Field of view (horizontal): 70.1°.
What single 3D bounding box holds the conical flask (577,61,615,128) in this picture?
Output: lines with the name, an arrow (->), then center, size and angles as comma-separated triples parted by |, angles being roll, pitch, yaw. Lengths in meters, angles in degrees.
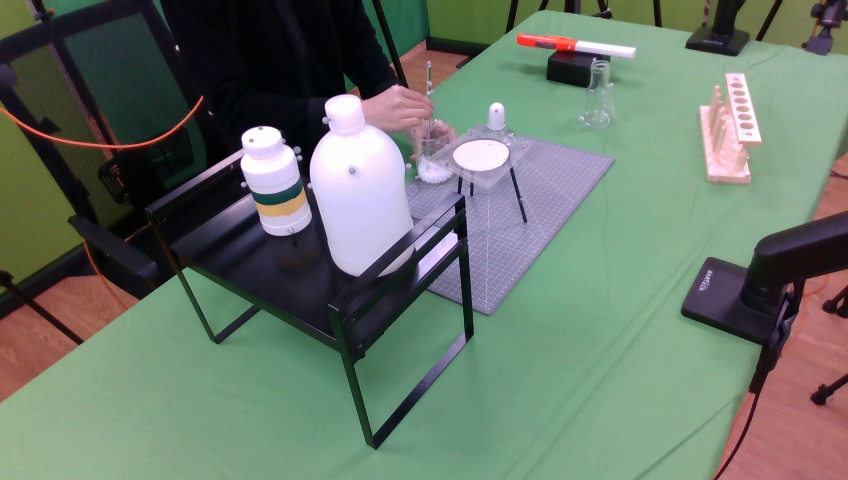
conical flask -> 0.343, -0.288, 1.188 | 0.075, 0.122, 0.075 | -4, 41, 4

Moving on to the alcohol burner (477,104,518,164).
alcohol burner -> 0.135, -0.200, 1.117 | 0.078, 0.119, 0.077 | -4, 43, 4

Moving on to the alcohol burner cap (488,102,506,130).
alcohol burner cap -> 0.133, -0.227, 1.092 | 0.034, 0.048, 0.033 | -1, 47, 2

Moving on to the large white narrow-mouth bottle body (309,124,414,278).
large white narrow-mouth bottle body -> -0.068, -0.057, 0.644 | 0.102, 0.195, 0.101 | -4, 42, 4

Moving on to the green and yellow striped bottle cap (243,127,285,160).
green and yellow striped bottle cap -> -0.183, -0.111, 0.694 | 0.045, 0.020, 0.045 | -1, 42, 1

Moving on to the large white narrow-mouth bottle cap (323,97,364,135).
large white narrow-mouth bottle cap -> -0.077, -0.120, 0.585 | 0.038, 0.024, 0.037 | -3, 42, 4

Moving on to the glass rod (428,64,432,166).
glass rod -> 0.011, -0.214, 1.064 | 0.008, 0.200, 0.008 | 0, 40, 1

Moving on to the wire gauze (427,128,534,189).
wire gauze -> 0.086, -0.131, 0.924 | 0.124, 0.011, 0.122 | 26, 52, 33

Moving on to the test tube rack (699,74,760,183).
test tube rack -> 0.547, -0.208, 1.095 | 0.066, 0.085, 0.242 | 6, 42, 16

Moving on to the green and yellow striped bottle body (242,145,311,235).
green and yellow striped bottle body -> -0.179, -0.069, 0.730 | 0.063, 0.120, 0.063 | -4, 41, 4

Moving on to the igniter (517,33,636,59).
igniter -> 0.336, -0.441, 1.369 | 0.275, 0.025, 0.057 | 16, 41, 23

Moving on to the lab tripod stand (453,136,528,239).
lab tripod stand -> 0.094, -0.086, 0.974 | 0.148, 0.132, 0.147 | -4, 43, 4

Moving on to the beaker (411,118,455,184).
beaker -> 0.020, -0.161, 1.099 | 0.073, 0.100, 0.084 | 14, 44, 22
